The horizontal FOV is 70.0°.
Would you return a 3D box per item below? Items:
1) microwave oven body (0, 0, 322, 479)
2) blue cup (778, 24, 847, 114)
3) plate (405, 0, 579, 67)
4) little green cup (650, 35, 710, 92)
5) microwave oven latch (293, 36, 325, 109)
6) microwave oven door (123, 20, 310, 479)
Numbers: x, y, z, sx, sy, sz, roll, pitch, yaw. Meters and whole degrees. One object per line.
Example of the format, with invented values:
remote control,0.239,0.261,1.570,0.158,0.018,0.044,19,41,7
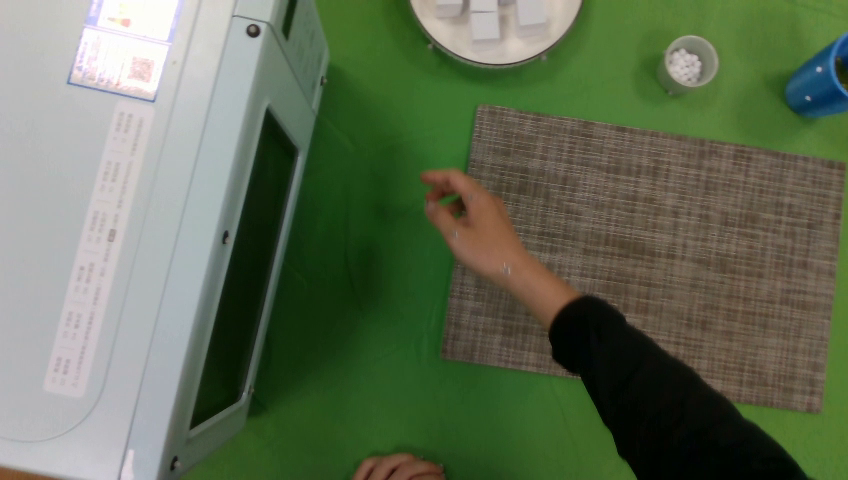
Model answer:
microwave oven body,-0.310,-0.055,0.563,0.326,0.260,0.441,12,86,-2
blue cup,0.460,-0.185,0.688,0.093,0.100,0.092,0,87,-3
plate,0.078,-0.301,0.712,0.208,0.039,0.207,0,86,-2
little green cup,0.299,-0.206,0.714,0.061,0.038,0.061,0,85,-2
microwave oven latch,-0.133,-0.189,0.677,0.030,0.029,0.079,15,86,-1
microwave oven door,-0.175,0.016,0.558,0.039,0.244,0.355,11,85,-1
